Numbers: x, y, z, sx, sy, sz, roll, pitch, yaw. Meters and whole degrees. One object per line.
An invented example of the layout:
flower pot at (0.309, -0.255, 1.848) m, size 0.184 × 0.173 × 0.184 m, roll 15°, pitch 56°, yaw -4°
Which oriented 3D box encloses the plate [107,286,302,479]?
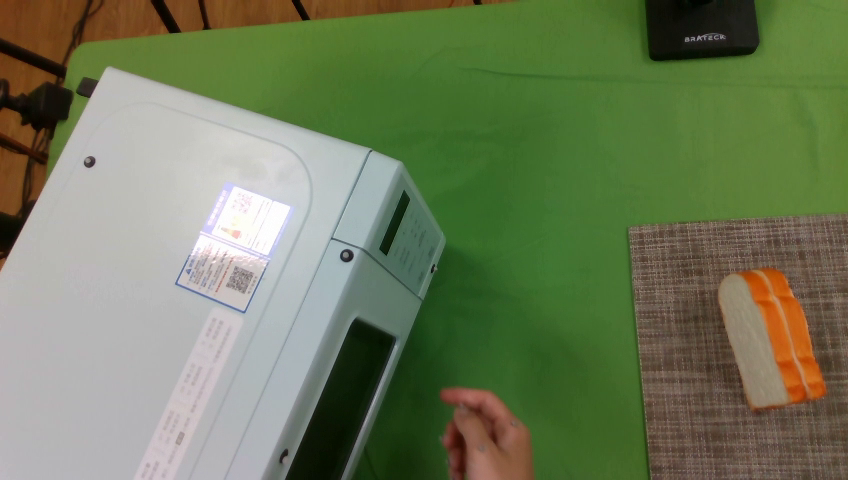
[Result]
plate at (-0.227, 0.153, 0.641) m, size 0.207 × 0.039 × 0.206 m, roll -2°, pitch 74°, yaw 7°

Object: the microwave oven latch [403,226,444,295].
microwave oven latch at (-0.003, 0.020, 0.679) m, size 0.030 × 0.030 × 0.079 m, roll 21°, pitch 81°, yaw 15°

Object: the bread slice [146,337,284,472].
bread slice at (-0.223, 0.180, 0.637) m, size 0.134 × 0.018 × 0.106 m, roll -27°, pitch 72°, yaw -5°

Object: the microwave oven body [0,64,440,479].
microwave oven body at (-0.222, 0.110, 0.596) m, size 0.324 × 0.262 × 0.440 m, roll 19°, pitch 81°, yaw 15°

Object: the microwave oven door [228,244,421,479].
microwave oven door at (-0.105, 0.193, 0.547) m, size 0.039 × 0.245 × 0.355 m, roll 19°, pitch 80°, yaw 16°
